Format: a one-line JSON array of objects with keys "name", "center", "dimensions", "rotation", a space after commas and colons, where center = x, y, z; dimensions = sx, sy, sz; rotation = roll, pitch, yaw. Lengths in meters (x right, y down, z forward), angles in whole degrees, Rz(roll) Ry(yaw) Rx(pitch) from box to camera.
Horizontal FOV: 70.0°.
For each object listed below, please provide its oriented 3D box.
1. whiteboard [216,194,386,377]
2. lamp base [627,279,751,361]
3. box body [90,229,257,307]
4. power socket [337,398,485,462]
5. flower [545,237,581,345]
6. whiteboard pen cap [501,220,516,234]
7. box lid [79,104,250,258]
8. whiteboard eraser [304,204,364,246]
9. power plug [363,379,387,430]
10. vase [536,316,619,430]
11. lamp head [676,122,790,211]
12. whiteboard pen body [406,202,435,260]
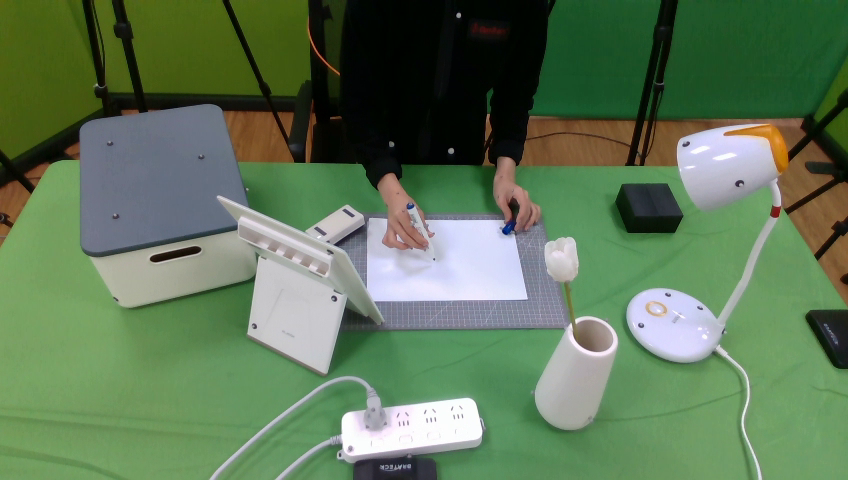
[{"name": "whiteboard", "center": [-0.212, 0.093, 0.939], "dimensions": [0.216, 0.307, 0.143], "rotation": [24, 70, 17]}, {"name": "lamp base", "center": [0.460, 0.100, 1.027], "dimensions": [0.178, 0.181, 0.160], "rotation": [27, 51, 17]}, {"name": "box body", "center": [-0.471, -0.070, 1.131], "dimensions": [0.254, 0.161, 0.361], "rotation": [-14, 49, -17]}, {"name": "power socket", "center": [-0.018, 0.285, 0.914], "dimensions": [0.227, 0.033, 0.071], "rotation": [-4, 46, -8]}, {"name": "flower", "center": [0.213, 0.137, 0.846], "dimensions": [0.038, 0.364, 0.044], "rotation": [22, 55, 40]}, {"name": "whiteboard pen cap", "center": [0.171, -0.026, 1.232], "dimensions": [0.018, 0.018, 0.033], "rotation": [30, 60, 23]}, {"name": "box lid", "center": [-0.467, -0.121, 1.075], "dimensions": [0.264, 0.015, 0.369], "rotation": [-13, 49, -17]}, {"name": "whiteboard eraser", "center": [-0.175, -0.022, 1.188], "dimensions": [0.055, 0.042, 0.112], "rotation": [36, 53, 26]}, {"name": "power plug", "center": [-0.071, 0.252, 0.911], "dimensions": [0.035, 0.053, 0.072], "rotation": [3, 40, 0]}, {"name": "vase", "center": [0.229, 0.200, 0.901], "dimensions": [0.098, 0.201, 0.097], "rotation": [3, 46, -3]}, {"name": "lamp head", "center": [0.423, -0.104, 0.819], "dimensions": [0.122, 0.113, 0.112], "rotation": [-13, 33, 40]}, {"name": "whiteboard pen body", "center": [-0.004, -0.013, 1.115], "dimensions": [0.017, 0.141, 0.017], "rotation": [-15, 38, 12]}]
